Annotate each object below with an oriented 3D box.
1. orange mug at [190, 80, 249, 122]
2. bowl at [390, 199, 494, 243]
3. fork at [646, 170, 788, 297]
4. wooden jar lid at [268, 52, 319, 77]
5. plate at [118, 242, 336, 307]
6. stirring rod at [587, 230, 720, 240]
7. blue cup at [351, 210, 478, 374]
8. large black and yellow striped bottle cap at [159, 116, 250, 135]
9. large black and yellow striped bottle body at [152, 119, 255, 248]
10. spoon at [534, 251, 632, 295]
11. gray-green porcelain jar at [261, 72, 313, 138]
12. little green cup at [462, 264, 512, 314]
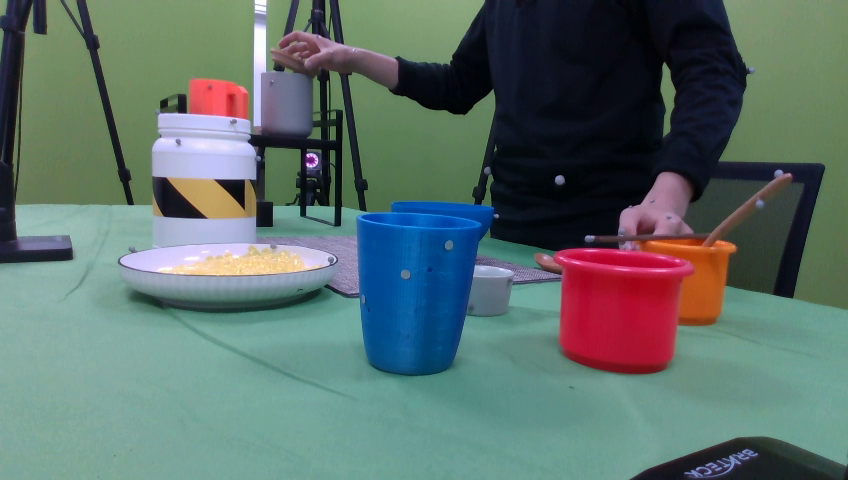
[{"bbox_3d":[-0.393,-0.257,1.173,0.126,0.100,0.084,1,6,25],"label":"orange mug"},{"bbox_3d":[0.024,-0.015,0.872,0.151,0.077,0.151,3,7,0],"label":"bowl"},{"bbox_3d":[0.256,0.004,0.543,0.028,0.018,0.207,3,-36,-9],"label":"fork"},{"bbox_3d":[-0.270,-0.359,1.246,0.108,0.020,0.108,19,6,-2],"label":"wooden jar lid"},{"bbox_3d":[-0.194,0.033,0.615,0.209,0.038,0.209,2,7,0],"label":"plate"},{"bbox_3d":[0.226,-0.005,0.587,0.177,0.006,0.014,-2,9,-29],"label":"stirring rod"},{"bbox_3d":[-0.009,0.034,0.414,0.093,0.100,0.092,4,8,0],"label":"blue cup"},{"bbox_3d":[-0.292,-0.153,0.810,0.115,0.019,0.115,3,8,0],"label":"large black and yellow striped bottle cap"},{"bbox_3d":[-0.296,-0.070,0.819,0.131,0.184,0.130,2,7,0],"label":"large black and yellow striped bottle body"},{"bbox_3d":[0.194,0.038,0.753,0.042,0.021,0.193,14,2,-20],"label":"spoon"},{"bbox_3d":[-0.284,-0.276,1.253,0.106,0.126,0.106,2,8,0],"label":"gray-green porcelain jar"},{"bbox_3d":[0.053,0.047,0.580,0.061,0.038,0.061,3,8,0],"label":"little green cup"}]
